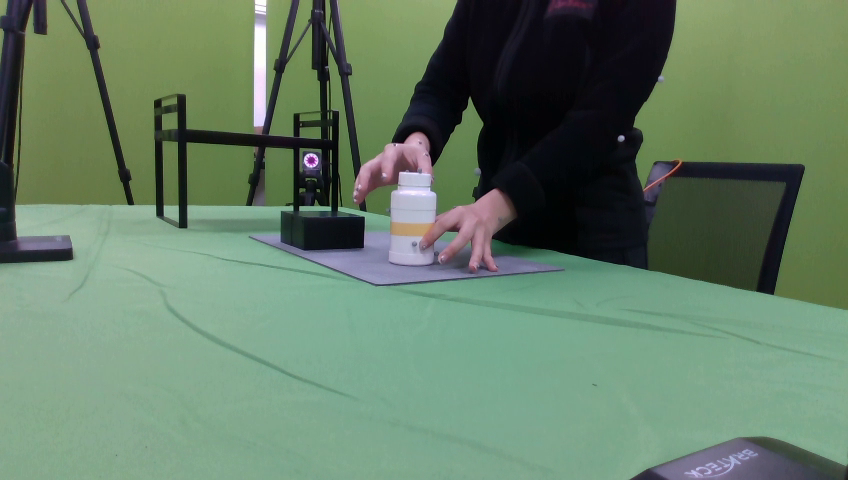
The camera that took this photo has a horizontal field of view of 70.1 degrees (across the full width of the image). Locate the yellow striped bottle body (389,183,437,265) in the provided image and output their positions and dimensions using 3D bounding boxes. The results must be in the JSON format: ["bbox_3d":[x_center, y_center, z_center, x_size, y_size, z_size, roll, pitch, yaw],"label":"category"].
[{"bbox_3d":[-0.015,-0.030,0.815,0.063,0.120,0.063,2,7,0],"label":"yellow striped bottle body"}]

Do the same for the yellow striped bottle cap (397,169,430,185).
[{"bbox_3d":[-0.014,-0.083,0.807,0.044,0.018,0.044,5,9,-1],"label":"yellow striped bottle cap"}]
